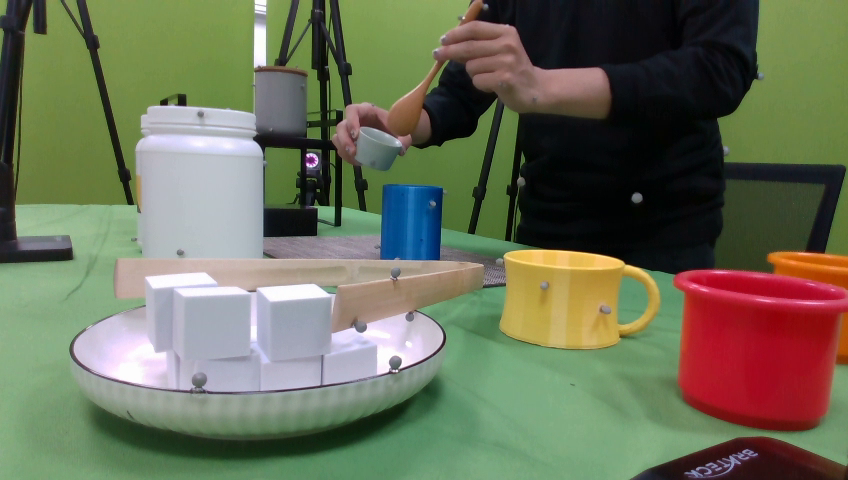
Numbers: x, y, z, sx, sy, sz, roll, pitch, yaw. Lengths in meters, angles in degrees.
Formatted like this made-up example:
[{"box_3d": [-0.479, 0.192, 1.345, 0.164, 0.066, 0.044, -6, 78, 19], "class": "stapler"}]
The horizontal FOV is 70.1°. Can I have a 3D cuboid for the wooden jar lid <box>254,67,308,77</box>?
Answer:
[{"box_3d": [-0.296, -0.339, 1.251, 0.108, 0.020, 0.108, 1, 7, 0], "class": "wooden jar lid"}]

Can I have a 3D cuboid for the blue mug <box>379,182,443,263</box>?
[{"box_3d": [-0.019, -0.026, 0.832, 0.082, 0.106, 0.116, 1, 7, -5], "class": "blue mug"}]

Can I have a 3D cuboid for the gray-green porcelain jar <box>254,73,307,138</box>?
[{"box_3d": [-0.298, -0.277, 1.259, 0.106, 0.126, 0.106, 3, 7, 0], "class": "gray-green porcelain jar"}]

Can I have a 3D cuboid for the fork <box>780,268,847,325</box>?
[{"box_3d": [0.324, 0.018, 0.441, 0.028, 0.018, 0.207, -3, -36, -5], "class": "fork"}]

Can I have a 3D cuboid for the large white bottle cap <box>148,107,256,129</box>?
[{"box_3d": [-0.250, -0.137, 0.686, 0.115, 0.018, 0.115, 3, 8, 0], "class": "large white bottle cap"}]

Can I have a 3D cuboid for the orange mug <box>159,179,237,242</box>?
[{"box_3d": [-0.368, -0.051, 0.991, 0.127, 0.101, 0.083, -10, 14, -41], "class": "orange mug"}]

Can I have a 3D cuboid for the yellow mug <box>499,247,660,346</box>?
[{"box_3d": [0.130, 0.045, 0.508, 0.131, 0.064, 0.100, 4, 7, 6], "class": "yellow mug"}]

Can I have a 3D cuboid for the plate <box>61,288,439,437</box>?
[{"box_3d": [-0.095, 0.069, 0.362, 0.208, 0.039, 0.207, 3, 7, 0], "class": "plate"}]

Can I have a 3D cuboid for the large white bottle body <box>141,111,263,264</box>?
[{"box_3d": [-0.254, -0.053, 0.697, 0.131, 0.184, 0.130, 2, 7, 0], "class": "large white bottle body"}]

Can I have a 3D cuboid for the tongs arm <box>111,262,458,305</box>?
[{"box_3d": [-0.080, 0.032, 0.527, 0.028, 0.027, 0.389, -3, -3, 33], "class": "tongs arm"}]

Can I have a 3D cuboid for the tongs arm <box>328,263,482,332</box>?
[{"box_3d": [-0.003, 0.036, 0.493, 0.050, 0.026, 0.386, 1, -1, 19], "class": "tongs arm"}]

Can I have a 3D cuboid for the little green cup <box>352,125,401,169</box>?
[{"box_3d": [-0.066, -0.124, 0.814, 0.062, 0.038, 0.061, 22, 23, -9], "class": "little green cup"}]

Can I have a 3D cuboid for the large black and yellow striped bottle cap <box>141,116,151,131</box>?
[{"box_3d": [-0.328, -0.158, 0.837, 0.115, 0.019, 0.115, 2, 6, 0], "class": "large black and yellow striped bottle cap"}]

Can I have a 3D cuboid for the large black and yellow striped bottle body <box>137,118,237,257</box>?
[{"box_3d": [-0.330, -0.075, 0.849, 0.131, 0.184, 0.130, 2, 8, 0], "class": "large black and yellow striped bottle body"}]

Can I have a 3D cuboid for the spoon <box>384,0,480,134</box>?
[{"box_3d": [0.010, -0.215, 0.757, 0.041, 0.193, 0.021, 36, 15, 3], "class": "spoon"}]

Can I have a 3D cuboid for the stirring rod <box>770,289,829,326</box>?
[{"box_3d": [0.349, 0.022, 0.468, 0.014, 0.006, 0.175, -12, -26, -50], "class": "stirring rod"}]
